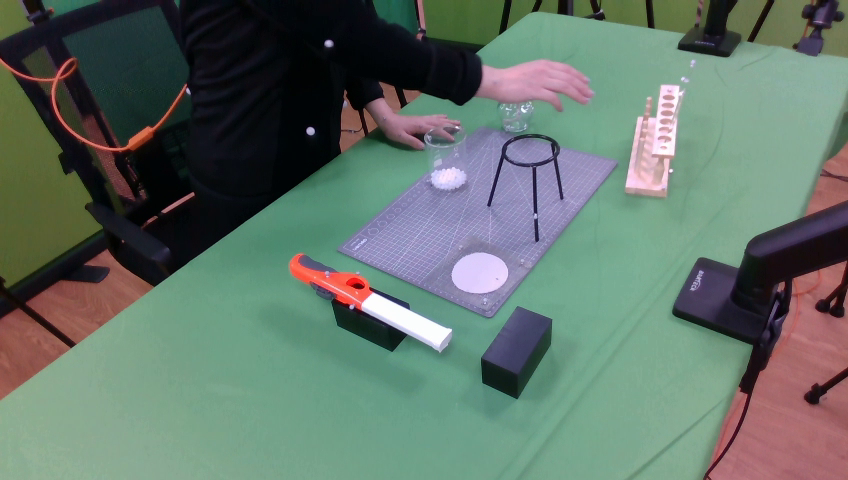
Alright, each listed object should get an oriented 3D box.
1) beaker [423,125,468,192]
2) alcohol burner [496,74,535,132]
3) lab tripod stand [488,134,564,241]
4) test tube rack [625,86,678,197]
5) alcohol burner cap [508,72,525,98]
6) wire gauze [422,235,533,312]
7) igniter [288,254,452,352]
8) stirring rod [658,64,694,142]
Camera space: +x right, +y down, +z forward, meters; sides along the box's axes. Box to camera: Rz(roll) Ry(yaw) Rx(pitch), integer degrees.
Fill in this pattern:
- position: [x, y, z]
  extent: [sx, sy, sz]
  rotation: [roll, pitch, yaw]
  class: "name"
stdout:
- position: [0.042, -0.144, 1.077]
  extent: [0.073, 0.100, 0.084]
  rotation: [28, 51, 34]
  class: "beaker"
- position: [0.184, -0.278, 1.210]
  extent: [0.078, 0.119, 0.077]
  rotation: [-3, 43, 3]
  class: "alcohol burner"
- position: [0.168, -0.092, 0.972]
  extent: [0.148, 0.132, 0.147]
  rotation: [-5, 41, 5]
  class: "lab tripod stand"
- position: [0.412, -0.184, 1.088]
  extent: [0.066, 0.085, 0.242]
  rotation: [9, 43, 18]
  class: "test tube rack"
- position: [0.181, -0.306, 1.186]
  extent: [0.034, 0.048, 0.033]
  rotation: [-6, 38, 6]
  class: "alcohol burner cap"
- position: [0.081, 0.049, 0.914]
  extent: [0.120, 0.011, 0.125]
  rotation: [26, 52, 32]
  class: "wire gauze"
- position: [-0.083, 0.079, 0.818]
  extent: [0.274, 0.025, 0.057]
  rotation: [23, 46, 27]
  class: "igniter"
- position: [0.409, -0.213, 1.000]
  extent: [0.006, 0.176, 0.014]
  rotation: [37, 57, 25]
  class: "stirring rod"
